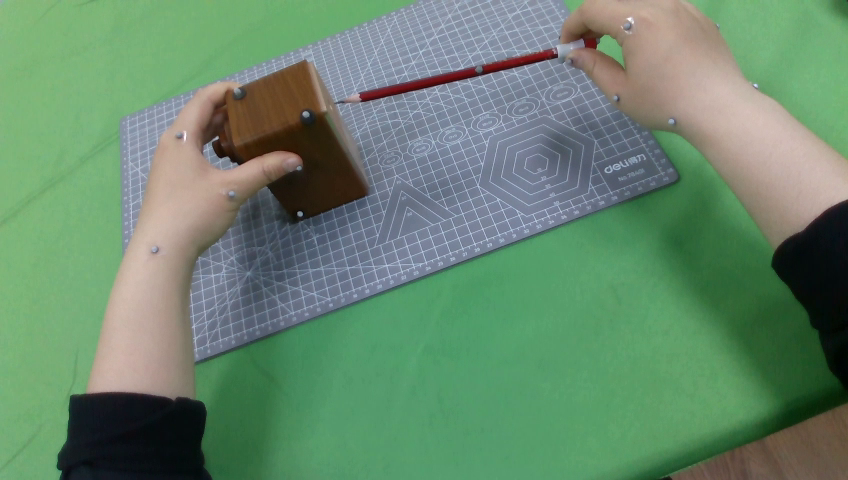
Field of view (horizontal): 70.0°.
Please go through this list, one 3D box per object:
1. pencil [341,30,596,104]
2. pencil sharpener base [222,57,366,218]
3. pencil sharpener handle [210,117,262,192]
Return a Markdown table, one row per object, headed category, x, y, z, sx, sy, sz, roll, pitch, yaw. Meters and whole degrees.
| category | x | y | z | sx | sy | sz | roll | pitch | yaw |
| --- | --- | --- | --- | --- | --- | --- | --- | --- | --- |
| pencil | 0.029 | -0.125 | 0.447 | 0.194 | 0.012 | 0.012 | -12 | 59 | 11 |
| pencil sharpener base | -0.100 | -0.075 | 0.477 | 0.077 | 0.108 | 0.060 | -22 | 58 | 2 |
| pencil sharpener handle | -0.151 | -0.062 | 0.468 | 0.030 | 0.068 | 0.035 | -22 | 58 | 2 |
